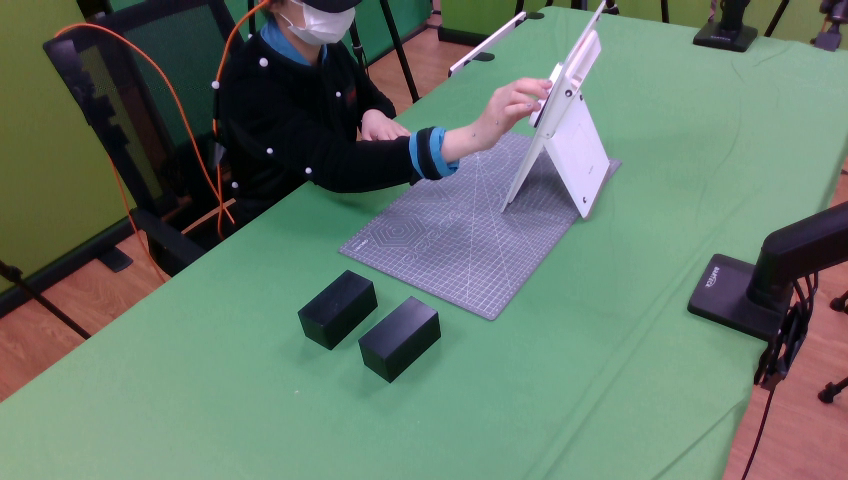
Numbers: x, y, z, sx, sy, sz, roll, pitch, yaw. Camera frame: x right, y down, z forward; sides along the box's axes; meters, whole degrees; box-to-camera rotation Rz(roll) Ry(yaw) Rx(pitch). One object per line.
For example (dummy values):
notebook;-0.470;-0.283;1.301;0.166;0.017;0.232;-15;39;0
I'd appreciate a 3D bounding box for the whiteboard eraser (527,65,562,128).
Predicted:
whiteboard eraser;0.181;-0.212;0.897;0.019;0.041;0.101;28;87;9

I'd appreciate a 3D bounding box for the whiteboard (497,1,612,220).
whiteboard;0.260;-0.177;0.963;0.143;0.306;0.217;28;48;9
